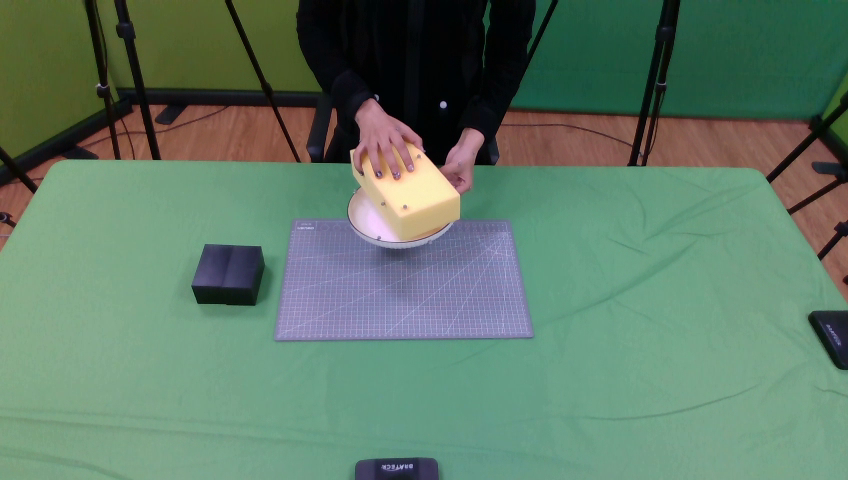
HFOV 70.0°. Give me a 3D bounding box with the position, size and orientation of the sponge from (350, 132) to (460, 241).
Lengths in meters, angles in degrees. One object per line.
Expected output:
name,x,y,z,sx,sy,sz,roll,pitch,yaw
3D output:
sponge,-0.038,-0.102,1.095,0.118,0.061,0.205,-23,51,-18

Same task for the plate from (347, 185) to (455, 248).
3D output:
plate,-0.038,-0.055,1.126,0.209,0.038,0.208,-4,44,4
